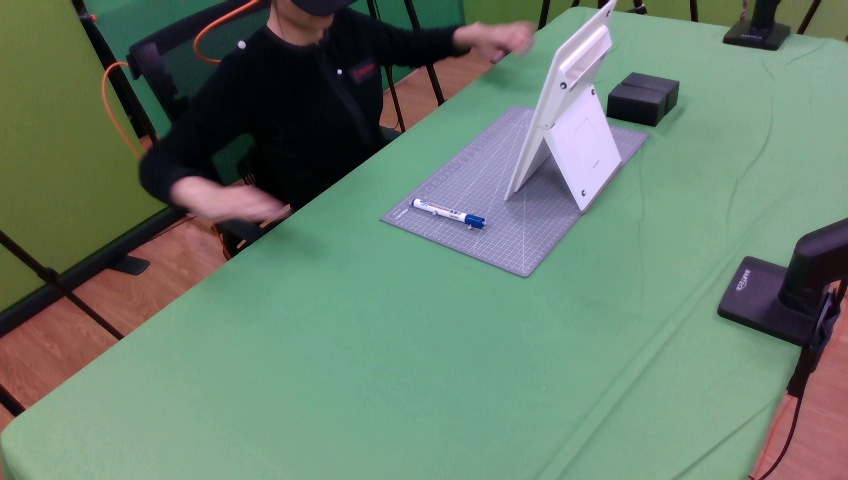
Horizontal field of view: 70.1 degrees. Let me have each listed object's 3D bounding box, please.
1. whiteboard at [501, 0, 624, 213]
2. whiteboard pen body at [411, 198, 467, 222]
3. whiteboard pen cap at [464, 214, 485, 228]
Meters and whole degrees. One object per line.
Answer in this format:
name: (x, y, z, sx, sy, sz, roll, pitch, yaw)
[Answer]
whiteboard: (0.271, -0.189, 0.977, 0.143, 0.306, 0.218, 34, 53, 16)
whiteboard pen body: (0.036, -0.049, 1.029, 0.139, 0.017, 0.017, 19, 48, 32)
whiteboard pen cap: (0.084, -0.032, 0.998, 0.033, 0.018, 0.018, 18, 48, 33)
